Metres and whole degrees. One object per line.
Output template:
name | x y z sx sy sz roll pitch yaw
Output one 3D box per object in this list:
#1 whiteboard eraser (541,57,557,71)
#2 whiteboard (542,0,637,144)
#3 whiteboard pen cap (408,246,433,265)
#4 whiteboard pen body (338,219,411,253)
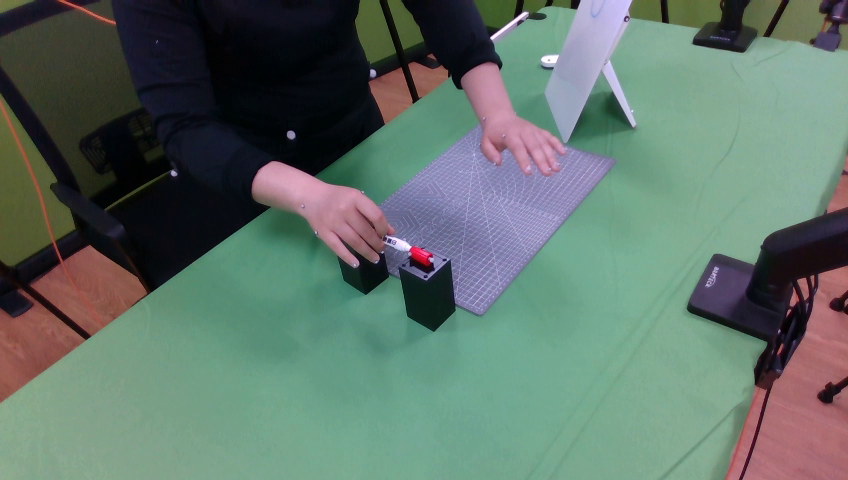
whiteboard eraser | 0.323 -0.412 1.407 0.101 0.019 0.041 1 41 11
whiteboard | 0.366 -0.351 1.160 0.144 0.305 0.216 10 39 -10
whiteboard pen cap | -0.005 0.020 0.795 0.032 0.017 0.017 25 50 35
whiteboard pen body | -0.063 -0.003 0.833 0.139 0.017 0.017 20 47 28
